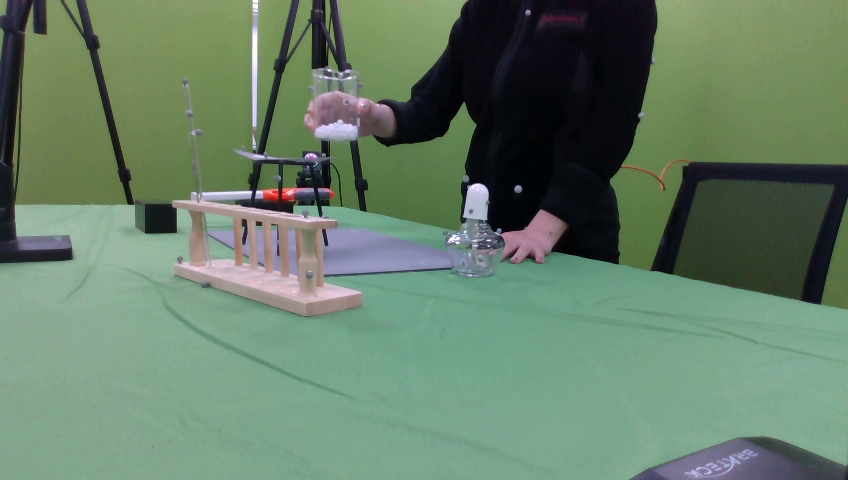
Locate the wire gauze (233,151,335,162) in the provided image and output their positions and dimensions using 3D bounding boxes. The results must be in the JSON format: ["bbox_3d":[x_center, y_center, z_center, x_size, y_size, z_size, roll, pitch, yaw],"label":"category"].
[{"bbox_3d":[-0.204,-0.121,0.887,0.122,0.011,0.124,0,8,-32],"label":"wire gauze"}]

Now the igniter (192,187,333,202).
[{"bbox_3d":[-0.316,-0.090,1.213,0.278,0.025,0.057,-5,13,-31],"label":"igniter"}]

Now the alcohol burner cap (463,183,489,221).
[{"bbox_3d":[0.067,-0.048,0.765,0.034,0.048,0.034,5,5,0],"label":"alcohol burner cap"}]

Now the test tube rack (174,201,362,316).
[{"bbox_3d":[-0.169,0.010,0.622,0.241,0.085,0.067,9,9,41],"label":"test tube rack"}]

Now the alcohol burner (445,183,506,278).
[{"bbox_3d":[0.066,-0.013,0.770,0.078,0.119,0.078,0,7,0],"label":"alcohol burner"}]

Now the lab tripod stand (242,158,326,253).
[{"bbox_3d":[-0.207,-0.054,0.895,0.148,0.131,0.148,2,5,0],"label":"lab tripod stand"}]

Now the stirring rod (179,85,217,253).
[{"bbox_3d":[-0.236,-0.073,0.634,0.006,0.176,0.014,0,10,42],"label":"stirring rod"}]

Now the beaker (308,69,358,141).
[{"bbox_3d":[-0.135,-0.202,0.911,0.074,0.100,0.083,-2,6,-19],"label":"beaker"}]
